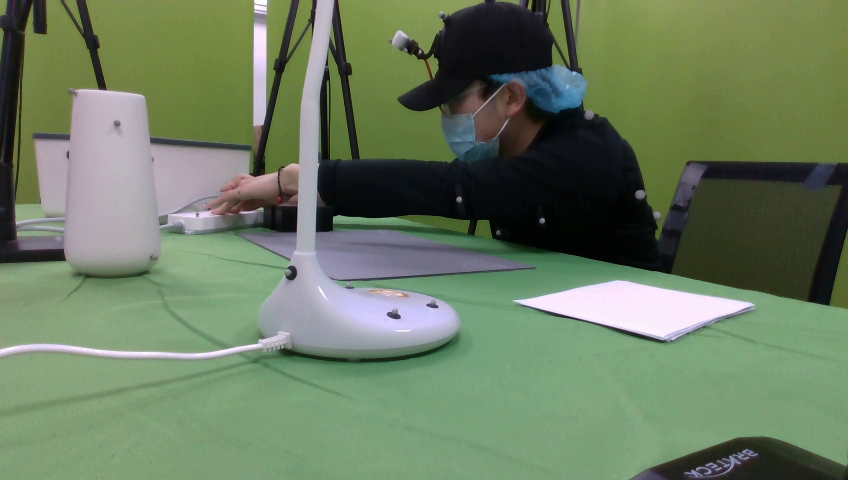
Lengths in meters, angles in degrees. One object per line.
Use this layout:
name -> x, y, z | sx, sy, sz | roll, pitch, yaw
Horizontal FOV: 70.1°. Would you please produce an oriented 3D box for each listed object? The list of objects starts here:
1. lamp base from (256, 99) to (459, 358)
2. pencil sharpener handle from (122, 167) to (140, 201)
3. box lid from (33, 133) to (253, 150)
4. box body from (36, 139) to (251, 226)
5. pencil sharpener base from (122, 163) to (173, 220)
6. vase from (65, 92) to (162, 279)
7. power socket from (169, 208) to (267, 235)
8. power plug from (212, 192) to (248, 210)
lamp base -> -0.055, -0.013, 0.463 | 0.160, 0.180, 0.180 | 6, 11, 27
pencil sharpener handle -> -0.585, -0.111, 1.193 | 0.030, 0.068, 0.036 | 4, 14, 21
box lid -> -0.555, -0.199, 1.249 | 0.263, 0.015, 0.372 | 5, 8, 15
box body -> -0.558, -0.126, 1.257 | 0.253, 0.160, 0.365 | 4, 8, 15
pencil sharpener base -> -0.539, -0.095, 1.174 | 0.076, 0.107, 0.061 | 4, 7, 21
vase -> -0.347, -0.060, 0.673 | 0.098, 0.200, 0.098 | 1, 7, 0
power socket -> -0.378, -0.038, 1.129 | 0.072, 0.032, 0.227 | 4, 8, 19
power plug -> -0.383, -0.070, 1.206 | 0.072, 0.052, 0.035 | 1, 8, 30
